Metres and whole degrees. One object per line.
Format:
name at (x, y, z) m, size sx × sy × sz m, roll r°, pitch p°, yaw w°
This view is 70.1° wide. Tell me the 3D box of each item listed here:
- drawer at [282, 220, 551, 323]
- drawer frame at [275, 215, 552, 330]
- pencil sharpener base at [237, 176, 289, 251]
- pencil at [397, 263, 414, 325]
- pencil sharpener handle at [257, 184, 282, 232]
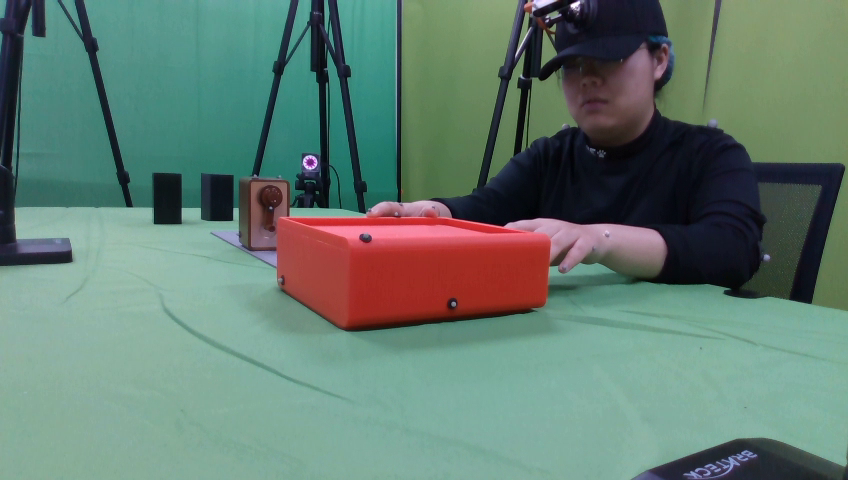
drawer at (-0.014, 0.023, 0.613) m, size 0.213 × 0.073 × 0.193 m, roll -2°, pitch 9°, yaw -30°
drawer frame at (-0.017, 0.022, 0.610) m, size 0.215 × 0.082 × 0.200 m, roll -2°, pitch 9°, yaw -31°
pencil sharpener base at (-0.243, -0.040, 0.911) m, size 0.061 × 0.107 × 0.076 m, roll -1°, pitch 8°, yaw -28°
pencil at (-0.019, 0.052, 0.615) m, size 0.012 × 0.012 × 0.194 m, roll 3°, pitch 12°, yaw 0°
pencil sharpener handle at (-0.220, -0.046, 0.865) m, size 0.036 × 0.067 × 0.030 m, roll 7°, pitch 4°, yaw -29°
